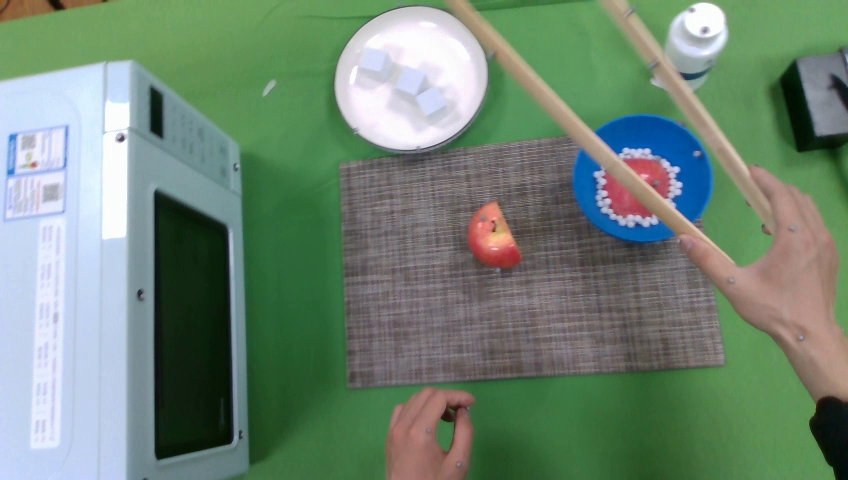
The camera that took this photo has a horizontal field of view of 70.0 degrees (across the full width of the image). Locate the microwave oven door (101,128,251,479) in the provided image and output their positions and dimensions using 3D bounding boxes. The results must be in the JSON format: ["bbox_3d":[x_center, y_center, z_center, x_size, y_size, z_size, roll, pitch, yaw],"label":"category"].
[{"bbox_3d":[-0.264,0.086,0.665,0.039,0.245,0.354,-8,78,8],"label":"microwave oven door"}]

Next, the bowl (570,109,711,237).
[{"bbox_3d":[0.247,-0.069,0.714,0.151,0.077,0.150,-2,78,9],"label":"bowl"}]

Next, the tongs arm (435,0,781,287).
[{"bbox_3d":[0.151,-0.090,0.538,0.386,0.028,0.028,44,73,7],"label":"tongs arm"}]

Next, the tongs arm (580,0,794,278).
[{"bbox_3d":[0.203,-0.131,0.550,0.051,0.026,0.383,-35,81,-12],"label":"tongs arm"}]

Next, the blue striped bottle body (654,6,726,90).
[{"bbox_3d":[0.314,-0.232,0.718,0.063,0.121,0.063,-2,77,9],"label":"blue striped bottle body"}]

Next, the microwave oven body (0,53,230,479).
[{"bbox_3d":[-0.411,0.065,0.698,0.326,0.261,0.439,-7,78,7],"label":"microwave oven body"}]

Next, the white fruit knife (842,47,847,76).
[{"bbox_3d":[0.497,-0.116,0.684,0.016,0.027,0.207,-14,94,24],"label":"white fruit knife"}]

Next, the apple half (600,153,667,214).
[{"bbox_3d":[0.247,-0.069,0.710,0.081,0.033,0.081,-2,77,9],"label":"apple half"}]

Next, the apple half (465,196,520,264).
[{"bbox_3d":[0.077,-0.006,0.732,0.053,0.075,0.080,-25,80,7],"label":"apple half"}]

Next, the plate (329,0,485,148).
[{"bbox_3d":[-0.021,-0.217,0.812,0.207,0.039,0.206,-2,79,8],"label":"plate"}]

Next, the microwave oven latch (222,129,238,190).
[{"bbox_3d":[-0.267,-0.106,0.809,0.030,0.029,0.079,-7,79,7],"label":"microwave oven latch"}]

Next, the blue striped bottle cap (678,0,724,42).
[{"bbox_3d":[0.306,-0.244,0.669,0.044,0.021,0.044,-2,80,9],"label":"blue striped bottle cap"}]
